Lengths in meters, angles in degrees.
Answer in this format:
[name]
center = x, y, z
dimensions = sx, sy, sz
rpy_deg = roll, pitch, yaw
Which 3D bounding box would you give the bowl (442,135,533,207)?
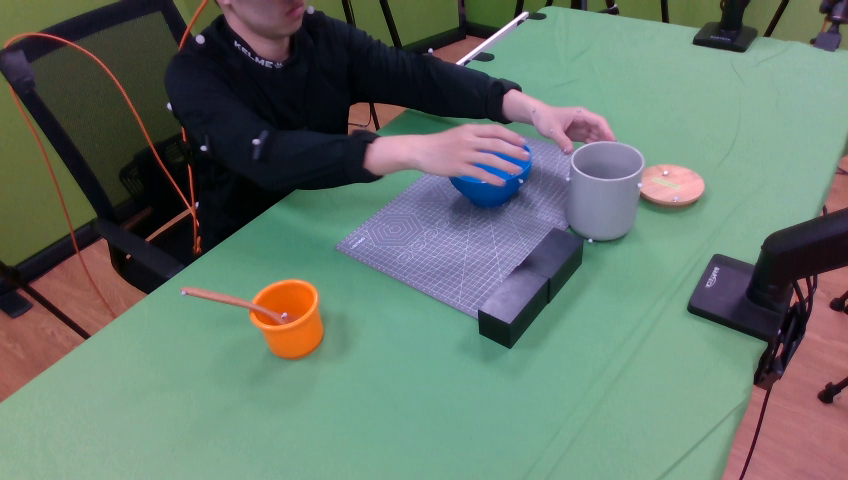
[bowl]
center = 0.110, -0.108, 1.033
dimensions = 0.151, 0.077, 0.150
rpy_deg = -4, 40, 3

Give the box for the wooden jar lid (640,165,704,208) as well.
[wooden jar lid]
center = 0.410, -0.089, 1.015
dimensions = 0.108, 0.021, 0.108
rpy_deg = -5, 41, 5

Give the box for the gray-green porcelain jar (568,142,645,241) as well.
[gray-green porcelain jar]
center = 0.277, -0.070, 0.931
dimensions = 0.106, 0.127, 0.105
rpy_deg = -4, 41, 4

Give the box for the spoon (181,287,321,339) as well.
[spoon]
center = -0.223, 0.093, 0.796
dimensions = 0.021, 0.195, 0.041
rpy_deg = -46, 36, 24
